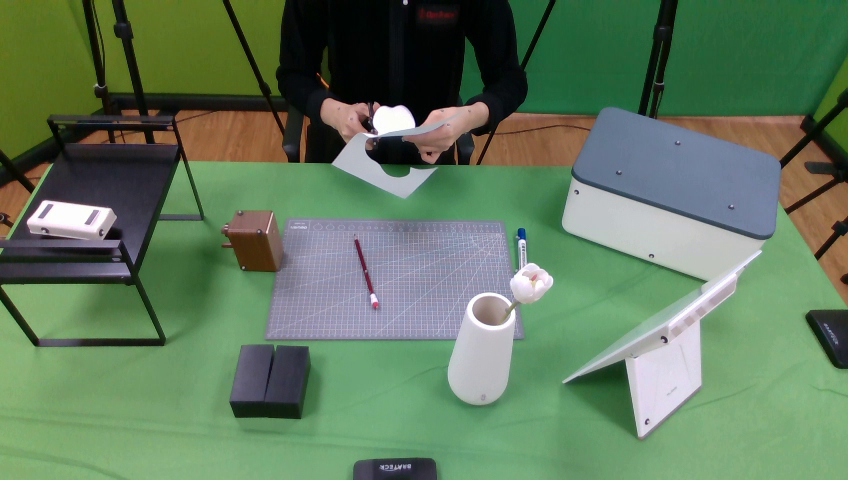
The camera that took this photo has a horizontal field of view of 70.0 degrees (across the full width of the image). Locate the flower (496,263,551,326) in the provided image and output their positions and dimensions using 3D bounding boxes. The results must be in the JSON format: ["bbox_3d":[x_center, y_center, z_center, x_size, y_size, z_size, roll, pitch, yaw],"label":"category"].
[{"bbox_3d":[0.102,0.121,0.853,0.044,0.363,0.038,-2,64,-10],"label":"flower"}]

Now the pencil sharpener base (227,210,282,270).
[{"bbox_3d":[-0.311,0.001,1.112,0.077,0.107,0.061,1,47,1],"label":"pencil sharpener base"}]

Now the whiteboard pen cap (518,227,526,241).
[{"bbox_3d":[0.197,-0.009,1.220,0.018,0.018,0.033,5,51,0],"label":"whiteboard pen cap"}]

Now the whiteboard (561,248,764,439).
[{"bbox_3d":[0.386,0.176,0.905,0.217,0.306,0.143,-26,72,-27],"label":"whiteboard"}]

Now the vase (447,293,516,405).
[{"bbox_3d":[0.091,0.169,0.921,0.098,0.201,0.097,3,47,-3],"label":"vase"}]

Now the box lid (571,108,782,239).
[{"bbox_3d":[0.491,-0.139,1.168,0.370,0.015,0.262,21,49,15],"label":"box lid"}]

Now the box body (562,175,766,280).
[{"bbox_3d":[0.486,-0.088,1.222,0.363,0.161,0.253,20,48,15],"label":"box body"}]

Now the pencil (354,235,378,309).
[{"bbox_3d":[-0.112,0.055,1.143,0.012,0.012,0.192,-10,46,-13],"label":"pencil"}]

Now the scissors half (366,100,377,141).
[{"bbox_3d":[-0.088,-0.202,1.037,0.013,0.040,0.174,-11,33,-3],"label":"scissors half"}]

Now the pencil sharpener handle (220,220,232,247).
[{"bbox_3d":[-0.362,-0.009,1.104,0.030,0.068,0.036,1,52,1],"label":"pencil sharpener handle"}]

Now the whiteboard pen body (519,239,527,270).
[{"bbox_3d":[0.193,0.035,1.181,0.017,0.017,0.140,6,48,1],"label":"whiteboard pen body"}]

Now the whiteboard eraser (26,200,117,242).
[{"bbox_3d":[-0.532,-0.026,0.919,0.113,0.042,0.055,7,45,3],"label":"whiteboard eraser"}]

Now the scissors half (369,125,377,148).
[{"bbox_3d":[-0.086,-0.181,1.044,0.013,0.040,0.175,-7,6,-4],"label":"scissors half"}]
